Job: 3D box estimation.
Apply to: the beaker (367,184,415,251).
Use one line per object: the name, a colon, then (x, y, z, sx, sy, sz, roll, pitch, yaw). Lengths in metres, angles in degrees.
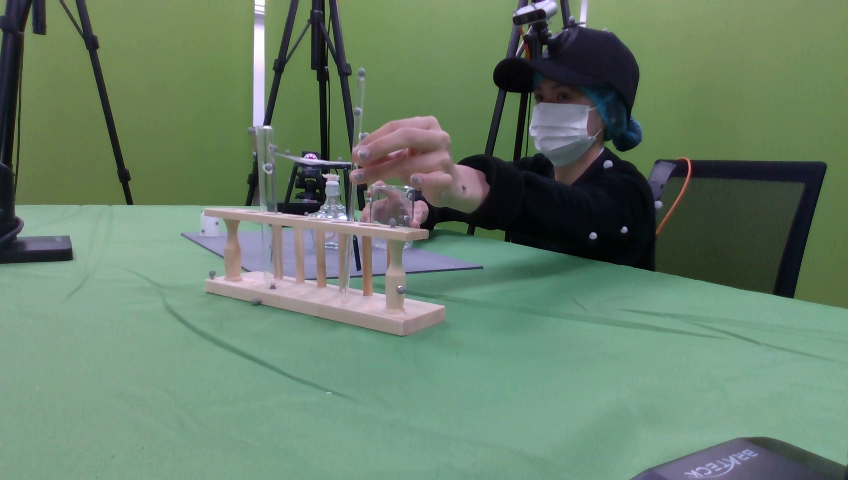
beaker: (-0.051, -0.035, 0.953, 0.074, 0.100, 0.083, -2, 9, -30)

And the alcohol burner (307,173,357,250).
alcohol burner: (-0.144, -0.045, 0.940, 0.078, 0.119, 0.078, 1, 9, 0)

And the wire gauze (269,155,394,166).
wire gauze: (-0.122, -0.102, 0.785, 0.122, 0.011, 0.124, -3, 10, -39)

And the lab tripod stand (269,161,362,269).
lab tripod stand: (-0.125, -0.036, 0.794, 0.148, 0.131, 0.148, 5, 7, 0)

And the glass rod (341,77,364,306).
glass rod: (-0.062, -0.038, 0.520, 0.008, 0.199, 0.008, 5, 6, 0)

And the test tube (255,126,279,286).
test tube: (-0.147, -0.030, 0.566, 0.017, 0.150, 0.017, -1, 8, 0)

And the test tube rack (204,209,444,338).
test tube rack: (-0.100, 0.021, 0.565, 0.241, 0.085, 0.067, 7, 9, 32)

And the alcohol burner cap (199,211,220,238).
alcohol burner cap: (-0.355, -0.027, 1.002, 0.034, 0.048, 0.034, 2, 7, 0)
